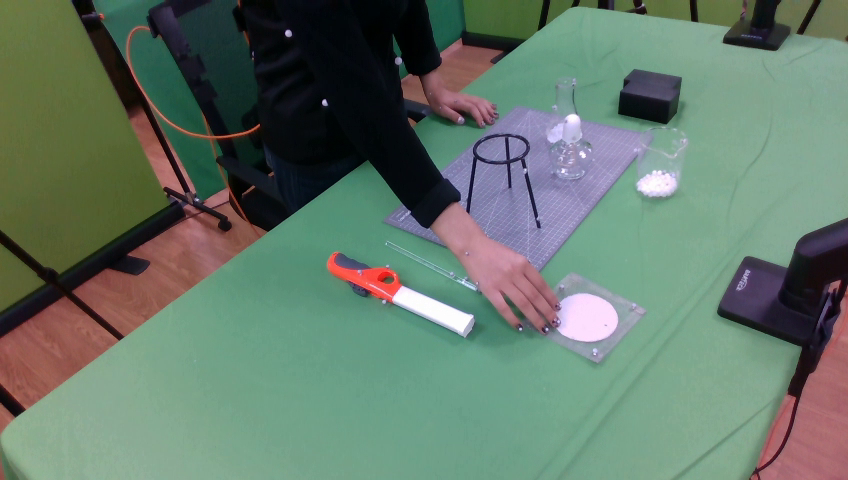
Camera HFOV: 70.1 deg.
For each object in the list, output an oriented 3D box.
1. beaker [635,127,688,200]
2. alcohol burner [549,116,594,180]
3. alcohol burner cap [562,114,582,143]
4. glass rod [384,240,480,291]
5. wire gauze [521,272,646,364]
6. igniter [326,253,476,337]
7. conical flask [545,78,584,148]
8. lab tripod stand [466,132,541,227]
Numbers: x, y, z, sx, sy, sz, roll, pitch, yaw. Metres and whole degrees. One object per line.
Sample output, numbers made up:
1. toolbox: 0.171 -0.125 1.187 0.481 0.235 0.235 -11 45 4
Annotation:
1. beaker: 0.388 -0.122 0.994 0.074 0.101 0.083 -8 40 2
2. alcohol burner: 0.258 -0.166 1.055 0.078 0.120 0.077 -6 42 6
3. alcohol burner cap: 0.254 -0.192 1.030 0.034 0.048 0.033 -4 51 6
4. glass rod: 0.008 0.037 0.949 0.198 0.008 0.008 26 52 34
5. wire gauze: 0.219 0.105 0.830 0.120 0.011 0.125 28 55 36
6. igniter: -0.045 0.076 0.898 0.274 0.025 0.057 21 59 31
7. conical flask: 0.264 -0.241 1.135 0.075 0.122 0.075 -6 40 5
8. lab tripod stand: 0.130 -0.099 0.985 0.148 0.132 0.147 -6 38 6
